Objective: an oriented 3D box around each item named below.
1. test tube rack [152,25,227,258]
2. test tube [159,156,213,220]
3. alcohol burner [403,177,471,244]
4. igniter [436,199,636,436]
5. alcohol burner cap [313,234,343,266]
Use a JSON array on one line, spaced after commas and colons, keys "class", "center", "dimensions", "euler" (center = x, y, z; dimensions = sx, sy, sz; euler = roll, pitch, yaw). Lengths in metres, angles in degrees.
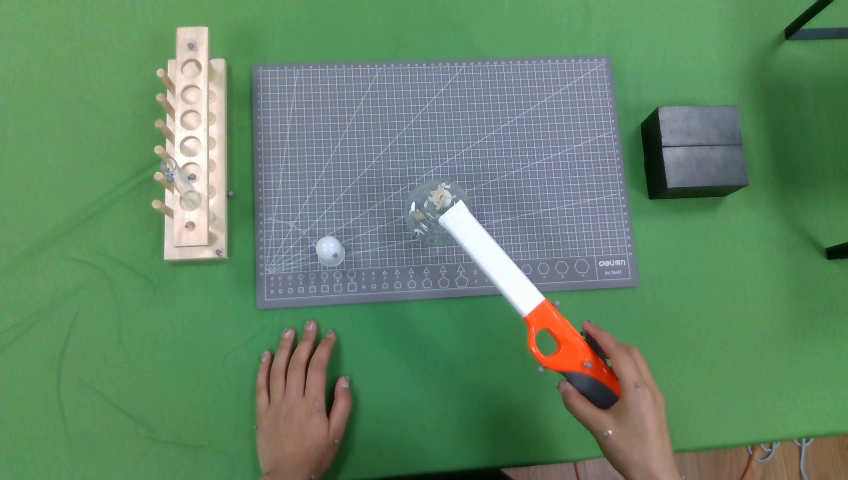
[{"class": "test tube rack", "center": [-0.264, -0.106, 0.675], "dimensions": [0.067, 0.085, 0.241], "euler": [-3, 80, -4]}, {"class": "test tube", "center": [-0.238, -0.049, 0.616], "dimensions": [0.017, 0.151, 0.017], "euler": [2, 74, -6]}, {"class": "alcohol burner", "center": [0.015, -0.037, 0.668], "dimensions": [0.078, 0.119, 0.077], "euler": [1, 80, -3]}, {"class": "igniter", "center": [0.111, 0.075, 0.590], "dimensions": [0.057, 0.025, 0.276], "euler": [-40, 87, -8]}, {"class": "alcohol burner cap", "center": [-0.109, 0.009, 0.685], "dimensions": [0.034, 0.048, 0.033], "euler": [1, 78, -4]}]
